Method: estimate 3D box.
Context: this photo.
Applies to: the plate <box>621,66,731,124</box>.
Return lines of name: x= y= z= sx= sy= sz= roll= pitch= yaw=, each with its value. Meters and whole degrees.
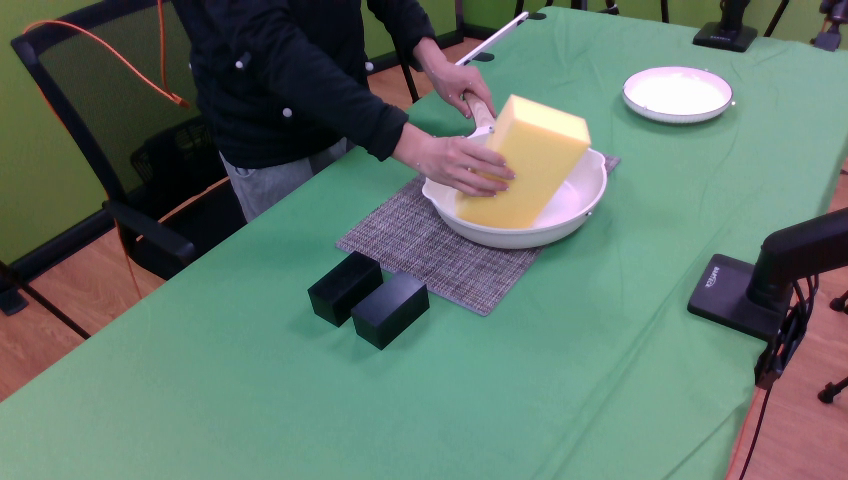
plate: x=0.503 y=-0.288 z=1.221 sx=0.207 sy=0.039 sz=0.206 roll=-4 pitch=41 yaw=4

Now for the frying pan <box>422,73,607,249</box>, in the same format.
frying pan: x=0.130 y=-0.161 z=1.069 sx=0.307 sy=0.103 sz=0.484 roll=-10 pitch=49 yaw=-5

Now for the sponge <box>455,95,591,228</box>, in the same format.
sponge: x=0.139 y=-0.101 z=0.900 sx=0.119 sy=0.206 sz=0.060 roll=16 pitch=45 yaw=-14
